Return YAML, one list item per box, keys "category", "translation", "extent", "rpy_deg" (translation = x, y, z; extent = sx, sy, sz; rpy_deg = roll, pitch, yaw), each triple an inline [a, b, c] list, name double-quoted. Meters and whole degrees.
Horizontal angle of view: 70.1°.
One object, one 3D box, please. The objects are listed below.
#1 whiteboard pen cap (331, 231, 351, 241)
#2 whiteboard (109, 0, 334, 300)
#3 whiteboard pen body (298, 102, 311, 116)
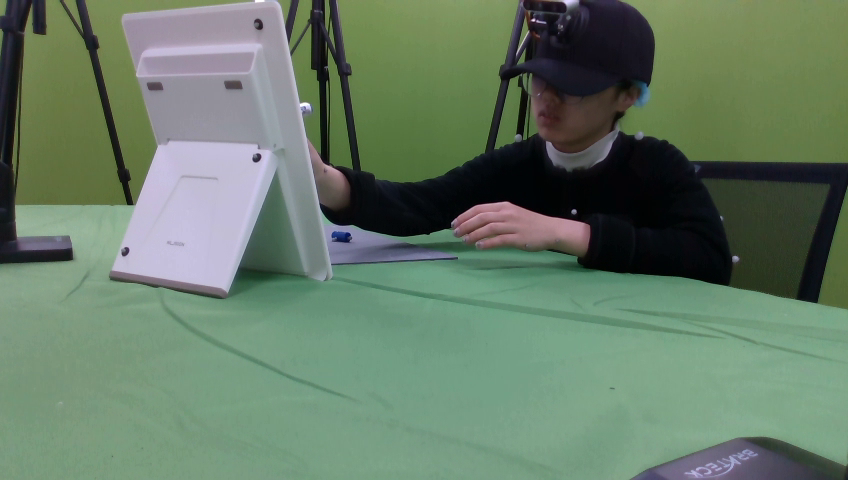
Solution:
- category: "whiteboard pen cap"
  translation: [-0.139, -0.007, 1.011]
  extent: [0.033, 0.018, 0.018]
  rpy_deg: [5, 8, 36]
- category: "whiteboard"
  translation: [-0.247, -0.072, 0.624]
  extent: [0.216, 0.305, 0.144]
  rpy_deg: [6, 28, 26]
- category: "whiteboard pen body"
  translation: [-0.176, -0.147, 0.723]
  extent: [0.017, 0.017, 0.141]
  rpy_deg: [5, 22, 21]
